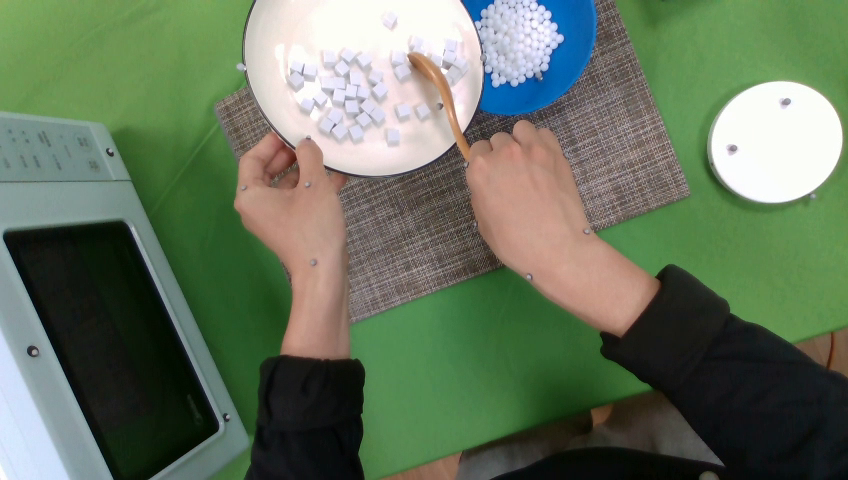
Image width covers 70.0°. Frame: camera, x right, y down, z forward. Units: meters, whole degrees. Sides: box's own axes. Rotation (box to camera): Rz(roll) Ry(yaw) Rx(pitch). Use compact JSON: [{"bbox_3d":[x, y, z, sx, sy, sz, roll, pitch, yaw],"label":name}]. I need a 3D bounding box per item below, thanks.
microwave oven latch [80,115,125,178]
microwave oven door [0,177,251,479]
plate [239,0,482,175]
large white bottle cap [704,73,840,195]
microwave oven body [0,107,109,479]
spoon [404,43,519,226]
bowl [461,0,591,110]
[{"bbox_3d":[-0.391,-0.108,0.725,0.030,0.029,0.079,-24,92,15],"label":"microwave oven latch"},{"bbox_3d":[-0.327,0.103,0.632,0.039,0.244,0.355,-25,91,16],"label":"microwave oven door"},{"bbox_3d":[-0.053,-0.157,0.533,0.210,0.038,0.208,2,84,-14],"label":"plate"},{"bbox_3d":[0.330,-0.099,0.577,0.114,0.018,0.115,1,97,13],"label":"large white bottle cap"},{"bbox_3d":[-0.471,0.122,0.675,0.326,0.260,0.441,-24,91,15],"label":"microwave oven body"},{"bbox_3d":[0.030,-0.092,0.518,0.041,0.022,0.192,-39,64,31],"label":"spoon"},{"bbox_3d":[0.086,-0.200,0.588,0.151,0.077,0.151,2,98,14],"label":"bowl"}]
